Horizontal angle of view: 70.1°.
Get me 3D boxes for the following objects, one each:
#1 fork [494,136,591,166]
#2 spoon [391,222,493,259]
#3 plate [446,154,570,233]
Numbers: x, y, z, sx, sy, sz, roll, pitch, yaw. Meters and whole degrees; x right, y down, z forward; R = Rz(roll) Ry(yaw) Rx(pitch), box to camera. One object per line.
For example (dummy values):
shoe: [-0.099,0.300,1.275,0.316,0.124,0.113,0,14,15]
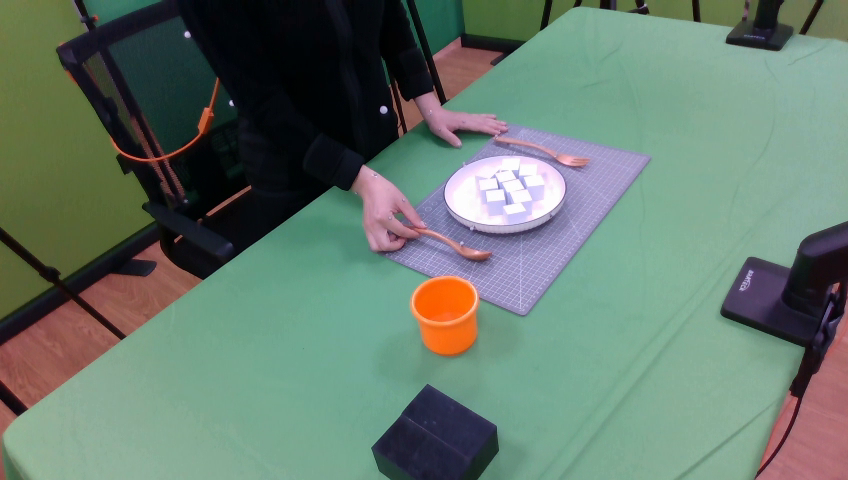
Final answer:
fork: [0.219,-0.171,1.144,0.205,0.019,0.028,24,56,31]
spoon: [0.025,-0.003,0.974,0.192,0.021,0.042,23,17,31]
plate: [0.142,-0.076,1.033,0.207,0.039,0.206,-5,40,5]
